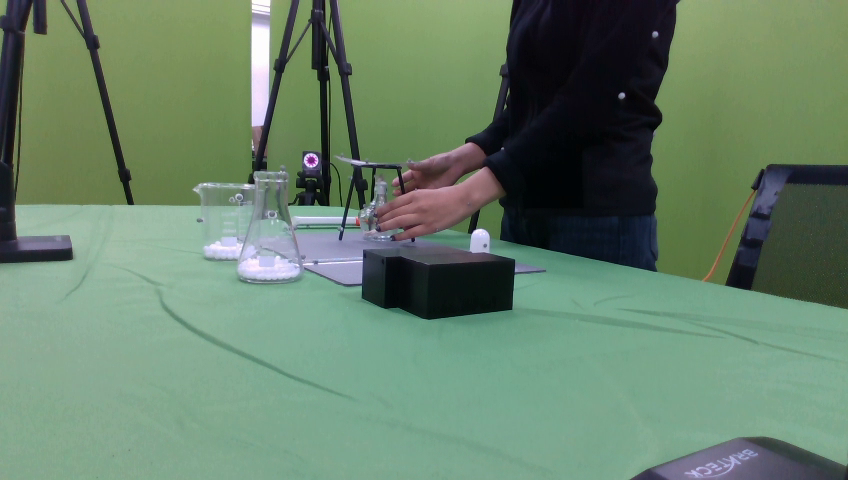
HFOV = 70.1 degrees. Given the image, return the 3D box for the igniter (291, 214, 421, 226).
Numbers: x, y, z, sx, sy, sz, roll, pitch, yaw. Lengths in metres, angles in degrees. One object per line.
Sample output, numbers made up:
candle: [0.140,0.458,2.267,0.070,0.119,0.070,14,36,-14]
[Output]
igniter: [-0.135,-0.041,1.250,0.278,0.025,0.057,-1,-3,-28]

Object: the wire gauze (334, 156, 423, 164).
wire gauze: [-0.081,-0.137,1.051,0.122,0.011,0.124,0,8,-30]

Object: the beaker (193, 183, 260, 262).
beaker: [-0.262,-0.025,0.806,0.084,0.100,0.073,-3,9,-30]

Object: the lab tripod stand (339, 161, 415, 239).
lab tripod stand: [-0.082,-0.070,1.059,0.148,0.131,0.148,4,6,0]

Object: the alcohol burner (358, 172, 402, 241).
alcohol burner: [-0.075,-0.058,1.047,0.078,0.119,0.078,4,8,0]

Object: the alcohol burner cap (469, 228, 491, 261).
alcohol burner cap: [0.082,0.006,0.878,0.034,0.048,0.034,2,6,0]

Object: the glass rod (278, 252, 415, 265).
glass rod: [-0.097,0.024,0.805,0.201,0.008,0.008,-3,8,-33]

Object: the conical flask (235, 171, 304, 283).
conical flask: [-0.172,-0.016,0.677,0.075,0.122,0.075,2,7,0]
